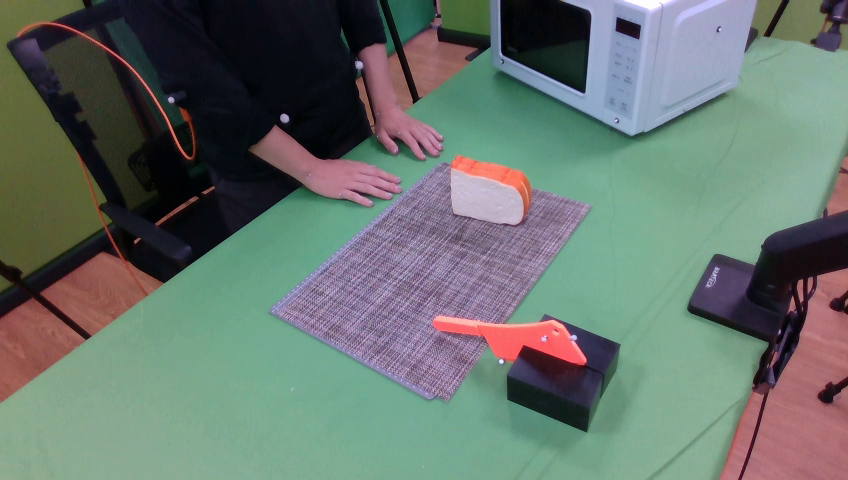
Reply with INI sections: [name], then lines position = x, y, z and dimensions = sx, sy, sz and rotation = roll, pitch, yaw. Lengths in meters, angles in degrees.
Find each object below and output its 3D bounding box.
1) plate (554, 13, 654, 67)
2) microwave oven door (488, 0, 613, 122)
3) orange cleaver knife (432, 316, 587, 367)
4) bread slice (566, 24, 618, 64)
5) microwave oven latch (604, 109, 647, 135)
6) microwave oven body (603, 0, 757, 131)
[plate]
position = 0.386, -0.428, 1.309
dimensions = 0.207, 0.039, 0.206
rotation = -4, 44, 4
[microwave oven door]
position = 0.250, -0.412, 1.219
dimensions = 0.039, 0.245, 0.352
rotation = -27, 44, -21
[orange cleaver knife]
position = 0.101, 0.127, 0.761
dimensions = 0.210, 0.077, 0.012
rotation = -1, 34, 40
[bread slice]
position = 0.362, -0.428, 1.323
dimensions = 0.107, 0.018, 0.134
rotation = 1, 51, 8
[microwave oven latch]
position = 0.378, -0.225, 1.139
dimensions = 0.030, 0.029, 0.078
rotation = -26, 43, -20
[microwave oven body]
position = 0.396, -0.448, 1.248
dimensions = 0.327, 0.261, 0.437
rotation = -27, 44, -21
